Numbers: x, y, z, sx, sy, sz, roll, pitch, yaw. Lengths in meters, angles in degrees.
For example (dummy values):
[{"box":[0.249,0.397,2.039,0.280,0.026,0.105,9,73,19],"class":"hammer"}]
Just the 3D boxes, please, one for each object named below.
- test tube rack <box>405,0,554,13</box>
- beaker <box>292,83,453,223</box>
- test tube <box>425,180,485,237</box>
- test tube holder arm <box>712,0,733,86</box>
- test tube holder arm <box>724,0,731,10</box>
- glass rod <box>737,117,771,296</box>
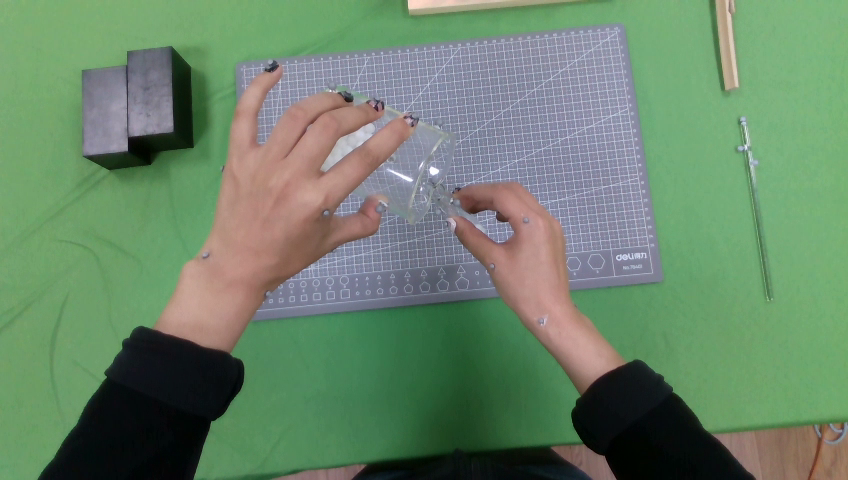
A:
[{"box":[0.095,-0.315,0.672,0.242,0.085,0.066,-5,80,1],"class":"test tube rack"},{"box":[-0.039,-0.066,0.450,0.100,0.084,0.074,26,85,10],"class":"beaker"},{"box":[0.032,-0.025,0.549,0.017,0.151,0.017,-4,76,18],"class":"test tube"},{"box":[0.336,-0.260,0.686,0.013,0.015,0.178,5,80,-27],"class":"test tube holder arm"},{"box":[0.341,-0.304,0.695,0.010,0.015,0.087,5,80,-27],"class":"test tube holder arm"},{"box":[0.357,-0.038,0.658,0.008,0.008,0.199,-4,81,1],"class":"glass rod"}]
